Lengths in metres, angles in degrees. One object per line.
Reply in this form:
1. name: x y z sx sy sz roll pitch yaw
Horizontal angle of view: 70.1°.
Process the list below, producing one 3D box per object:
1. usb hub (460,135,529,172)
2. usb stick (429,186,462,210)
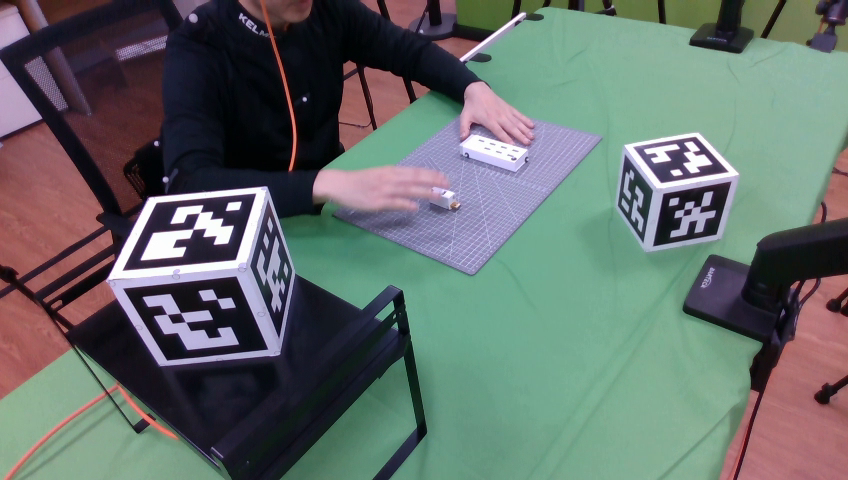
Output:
1. usb hub: 0.132 -0.164 1.138 0.124 0.025 0.049 22 48 30
2. usb stick: 0.038 -0.070 1.039 0.059 0.027 0.021 25 52 29
